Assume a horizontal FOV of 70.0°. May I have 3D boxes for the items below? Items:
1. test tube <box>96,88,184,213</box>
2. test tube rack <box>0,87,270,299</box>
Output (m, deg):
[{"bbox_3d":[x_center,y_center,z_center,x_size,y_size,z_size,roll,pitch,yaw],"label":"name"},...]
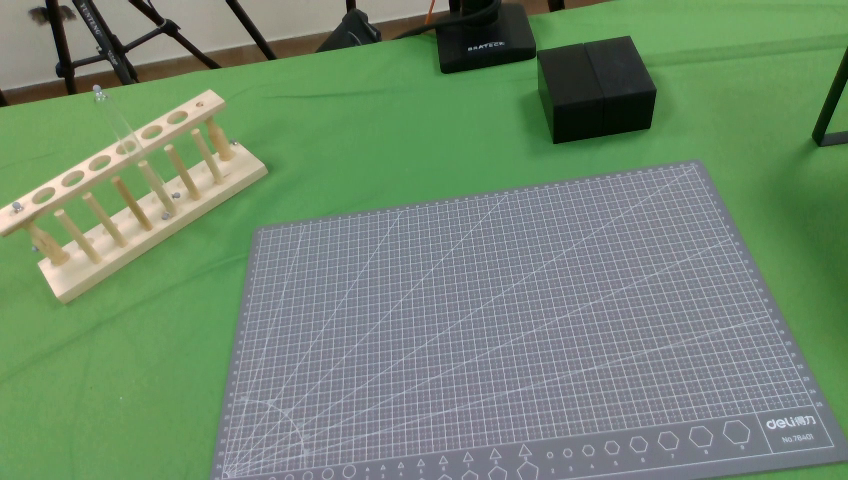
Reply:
[{"bbox_3d":[-0.272,-0.083,0.587,0.017,0.152,0.017,-5,48,6],"label":"test tube"},{"bbox_3d":[-0.290,-0.053,0.626,0.242,0.086,0.066,-38,53,-20],"label":"test tube rack"}]
